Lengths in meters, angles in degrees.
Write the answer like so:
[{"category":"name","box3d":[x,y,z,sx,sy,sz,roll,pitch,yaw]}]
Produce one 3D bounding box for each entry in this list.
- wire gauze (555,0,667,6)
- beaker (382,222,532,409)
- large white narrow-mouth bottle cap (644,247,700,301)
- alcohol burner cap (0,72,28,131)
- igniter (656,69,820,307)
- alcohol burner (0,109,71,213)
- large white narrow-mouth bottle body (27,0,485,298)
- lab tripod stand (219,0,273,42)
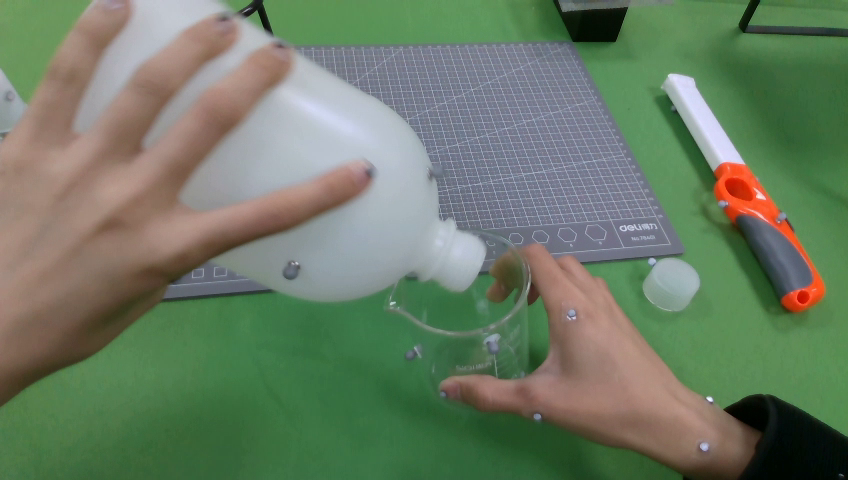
[{"category":"wire gauze","box3d":[0.187,-0.290,0.659,0.122,0.011,0.123,-3,52,-11]},{"category":"beaker","box3d":[0.023,0.051,0.364,0.084,0.101,0.073,-16,48,-4]},{"category":"large white narrow-mouth bottle cap","box3d":[0.188,0.026,0.460,0.038,0.024,0.037,3,51,-3]},{"category":"alcohol burner cap","box3d":[-0.288,-0.098,0.397,0.034,0.048,0.033,3,57,-4]},{"category":"igniter","box3d":[0.267,-0.059,0.532,0.057,0.025,0.273,4,51,-17]},{"category":"alcohol burner","box3d":[-0.292,-0.076,0.426,0.078,0.120,0.077,4,49,-4]},{"category":"large white narrow-mouth bottle body","box3d":[-0.061,-0.029,0.283,0.195,0.102,0.101,27,50,-13]},{"category":"lab tripod stand","box3d":[-0.163,-0.136,0.473,0.148,0.132,0.147,4,51,-5]}]
